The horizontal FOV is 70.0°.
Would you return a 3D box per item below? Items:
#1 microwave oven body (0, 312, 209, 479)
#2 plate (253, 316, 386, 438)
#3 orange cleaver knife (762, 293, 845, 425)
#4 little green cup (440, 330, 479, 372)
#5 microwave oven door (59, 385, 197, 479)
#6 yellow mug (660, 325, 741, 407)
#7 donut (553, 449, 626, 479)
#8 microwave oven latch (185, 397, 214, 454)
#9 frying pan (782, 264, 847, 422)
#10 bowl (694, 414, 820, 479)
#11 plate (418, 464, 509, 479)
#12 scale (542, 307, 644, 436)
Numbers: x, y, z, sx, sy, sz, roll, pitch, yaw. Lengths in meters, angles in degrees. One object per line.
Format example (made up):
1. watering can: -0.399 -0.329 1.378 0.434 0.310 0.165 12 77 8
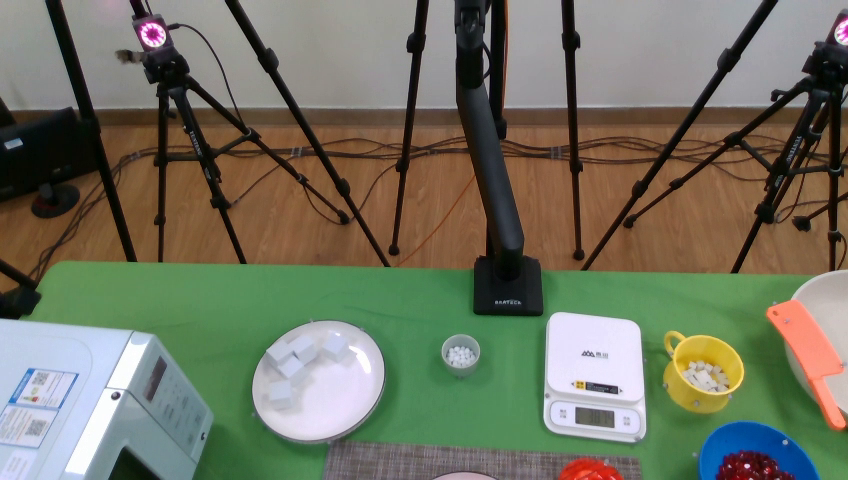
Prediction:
1. microwave oven body: -0.511 0.337 0.726 0.325 0.262 0.438 4 52 6
2. plate: -0.161 0.215 0.955 0.207 0.039 0.205 -1 50 2
3. orange cleaver knife: 0.567 0.165 0.881 0.077 0.012 0.209 -3 50 -5
4. little green cup: 0.057 0.180 0.970 0.061 0.039 0.061 -2 50 3
5. microwave oven door: -0.372 0.375 0.680 0.039 0.246 0.352 4 51 7
6. yellow mug: 0.410 0.183 0.927 0.100 0.064 0.129 -24 52 -15
7. donut: 0.225 0.334 0.824 0.099 0.049 0.098 -4 51 5
8. microwave oven latch: -0.337 0.272 0.894 0.030 0.030 0.078 6 52 8
9. frying pan: 0.726 0.232 0.843 0.307 0.104 0.482 -20 44 -11
10. bowl: 0.430 0.318 0.808 0.151 0.077 0.150 -2 52 3
11. plate: 0.052 0.400 0.785 0.209 0.038 0.207 -1 51 2
12. scale: 0.262 0.199 0.945 0.148 0.032 0.199 5 52 8
